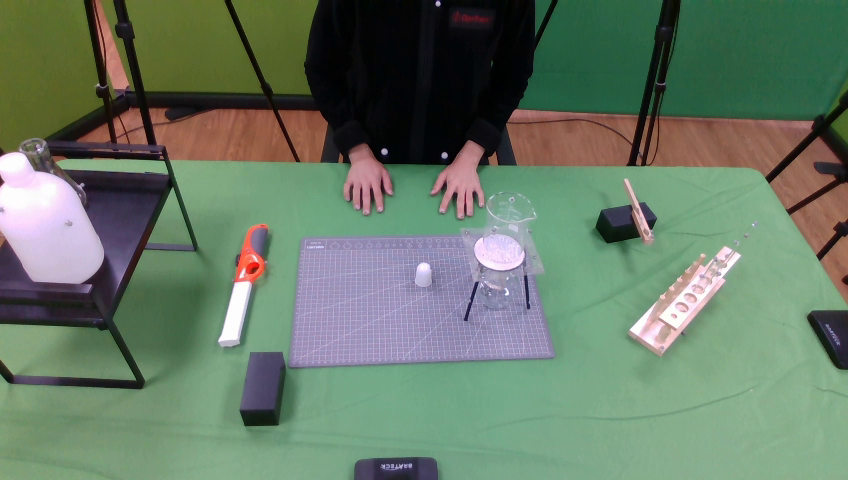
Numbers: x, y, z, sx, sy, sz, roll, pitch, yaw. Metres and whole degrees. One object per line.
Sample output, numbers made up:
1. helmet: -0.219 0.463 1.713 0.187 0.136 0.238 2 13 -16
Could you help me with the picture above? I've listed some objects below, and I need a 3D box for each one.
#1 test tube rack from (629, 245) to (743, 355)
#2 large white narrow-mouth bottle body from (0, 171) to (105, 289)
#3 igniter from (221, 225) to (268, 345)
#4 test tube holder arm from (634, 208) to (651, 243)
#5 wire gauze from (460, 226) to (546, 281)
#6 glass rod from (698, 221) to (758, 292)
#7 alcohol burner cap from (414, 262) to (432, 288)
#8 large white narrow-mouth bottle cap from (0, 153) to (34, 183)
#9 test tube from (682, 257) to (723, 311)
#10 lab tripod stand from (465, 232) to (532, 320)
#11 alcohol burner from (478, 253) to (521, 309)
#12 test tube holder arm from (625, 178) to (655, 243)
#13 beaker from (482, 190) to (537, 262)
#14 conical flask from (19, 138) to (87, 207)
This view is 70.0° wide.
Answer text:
1. test tube rack: 0.474 0.095 1.091 0.242 0.085 0.066 -34 56 -31
2. large white narrow-mouth bottle body: -0.513 -0.029 0.818 0.102 0.195 0.101 2 46 -2
3. igniter: -0.323 0.072 1.100 0.057 0.025 0.274 -6 45 5
4. test tube holder arm: 0.428 -0.030 1.189 0.010 0.015 0.087 1 47 -2
5. wire gauze: 0.130 0.017 1.016 0.121 0.011 0.124 -4 43 -9
6. glass rod: 0.527 0.035 1.060 0.008 0.200 0.008 5 49 -6
7. alcohol burner cap: 0.000 0.061 1.119 0.034 0.048 0.033 3 43 -3
8. large white narrow-mouth bottle cap: -0.510 -0.090 0.754 0.038 0.024 0.037 2 46 -2
9. test tube: 0.475 0.080 1.037 0.017 0.151 0.017 1 50 -1
10. lab tripod stand: 0.125 0.059 1.065 0.148 0.132 0.147 1 45 0
11. alcohol burner: 0.134 0.067 1.073 0.078 0.120 0.077 0 47 0
12. test tube holder arm: 0.433 -0.062 1.220 0.013 0.015 0.177 1 47 -3
13. beaker: 0.136 -0.019 0.983 0.084 0.101 0.073 17 47 14
14. conical flask: -0.576 -0.097 0.930 0.075 0.122 0.075 2 46 -2
